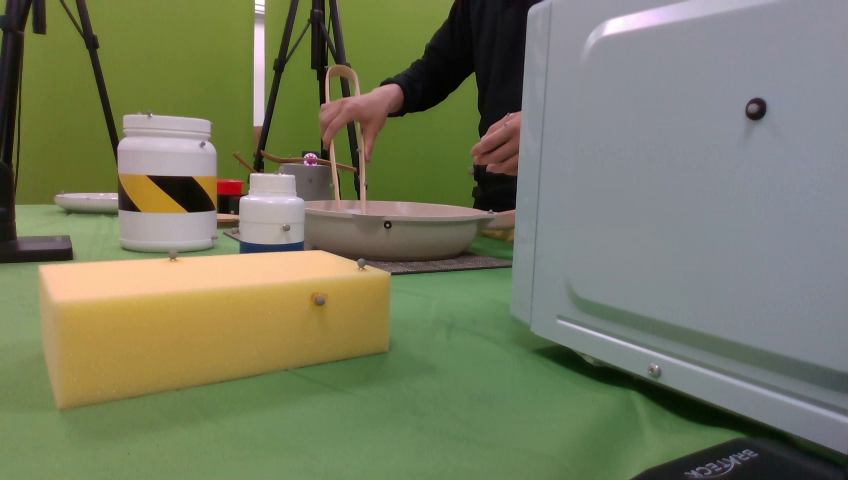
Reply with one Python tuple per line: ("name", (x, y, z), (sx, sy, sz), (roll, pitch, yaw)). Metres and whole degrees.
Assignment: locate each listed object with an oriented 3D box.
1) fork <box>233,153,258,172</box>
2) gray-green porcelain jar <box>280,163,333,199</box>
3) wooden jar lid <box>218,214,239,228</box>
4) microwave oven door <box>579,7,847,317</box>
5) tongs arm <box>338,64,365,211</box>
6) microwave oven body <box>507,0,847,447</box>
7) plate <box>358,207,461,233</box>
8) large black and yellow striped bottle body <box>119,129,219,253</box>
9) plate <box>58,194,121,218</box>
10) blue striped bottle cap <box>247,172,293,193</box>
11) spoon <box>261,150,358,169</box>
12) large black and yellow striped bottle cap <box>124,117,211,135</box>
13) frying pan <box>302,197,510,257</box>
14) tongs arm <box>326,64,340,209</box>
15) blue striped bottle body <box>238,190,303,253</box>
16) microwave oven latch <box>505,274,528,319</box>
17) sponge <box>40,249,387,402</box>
("fork", (-0.396, -0.143, 1.486), (0.028, 0.018, 0.208), (21, -26, 45))
("gray-green porcelain jar", (-0.238, -0.092, 1.221), (0.106, 0.126, 0.106), (2, 7, 0))
("wooden jar lid", (-0.404, -0.037, 1.169), (0.108, 0.020, 0.108), (3, 7, 0))
("microwave oven door", (0.294, -0.067, 0.570), (0.358, 0.243, 0.039), (-3, 9, -31))
("tongs arm", (-0.135, -0.188, 1.103), (0.051, 0.383, 0.026), (3, -37, -11))
("microwave oven body", (0.331, -0.042, 0.425), (0.444, 0.260, 0.324), (-2, 8, -31))
("plate", (-0.030, -0.041, 1.213), (0.208, 0.039, 0.207), (3, 6, 0))
("large black and yellow striped bottle body", (-0.367, -0.080, 0.876), (0.131, 0.184, 0.130), (2, 7, 0))
("plate", (-0.671, -0.074, 1.310), (0.209, 0.038, 0.209), (2, 8, 0))
("blue striped bottle cap", (-0.152, -0.057, 0.598), (0.044, 0.020, 0.044), (3, 7, 0))
("spoon", (-0.229, -0.161, 1.222), (0.194, 0.021, 0.041), (3, 2, -16))
("large black and yellow striped bottle cap", (-0.366, -0.163, 0.866), (0.115, 0.019, 0.115), (3, 7, 0))
("frying pan", (0.051, -0.035, 0.915), (0.487, 0.102, 0.307), (-5, 7, 11))
("tongs arm", (-0.160, -0.189, 1.097), (0.028, 0.386, 0.028), (-2, -36, -10))
("blue striped bottle body", (-0.153, -0.007, 0.606), (0.063, 0.120, 0.063), (2, 8, 0))
("microwave oven latch", (0.100, 0.041, 0.471), (0.079, 0.029, 0.030), (-1, 7, -28))
("sponge", (-0.142, 0.047, 0.420), (0.208, 0.061, 0.117), (-2, 8, -36))
